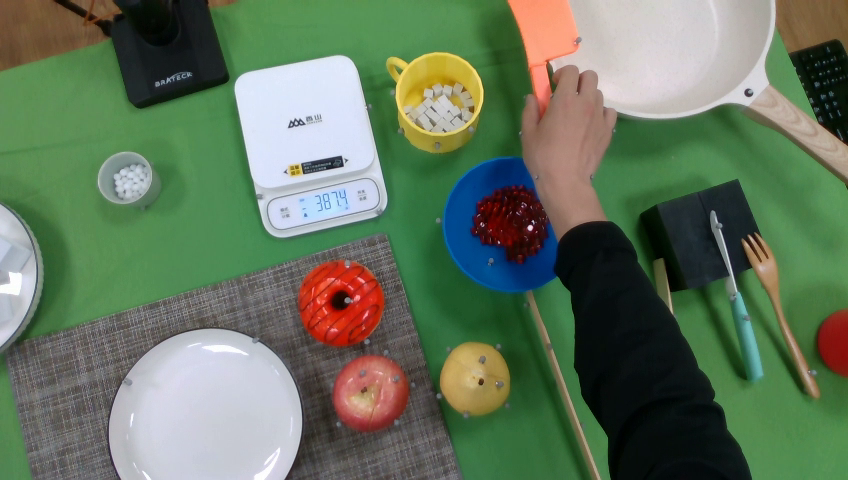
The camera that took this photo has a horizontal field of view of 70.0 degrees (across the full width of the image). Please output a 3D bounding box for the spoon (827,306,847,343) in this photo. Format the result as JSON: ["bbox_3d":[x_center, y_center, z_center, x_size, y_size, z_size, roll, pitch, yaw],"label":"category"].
[{"bbox_3d":[0.511,0.139,0.640,0.041,0.022,0.191,-23,39,-4],"label":"spoon"}]

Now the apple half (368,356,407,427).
[{"bbox_3d":[-0.035,0.166,0.652,0.033,0.081,0.081,16,81,4],"label":"apple half"}]

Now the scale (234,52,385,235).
[{"bbox_3d":[-0.136,-0.116,0.717,0.149,0.031,0.200,-13,83,-3],"label":"scale"}]

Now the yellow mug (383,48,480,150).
[{"bbox_3d":[0.002,-0.173,0.712,0.130,0.064,0.100,40,83,5],"label":"yellow mug"}]

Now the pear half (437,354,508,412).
[{"bbox_3d":[0.049,0.156,0.642,0.076,0.110,0.056,15,81,5],"label":"pear half"}]

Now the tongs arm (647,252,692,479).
[{"bbox_3d":[0.279,0.206,0.687,0.028,0.028,0.386,-2,82,-11],"label":"tongs arm"}]

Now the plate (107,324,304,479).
[{"bbox_3d":[-0.232,0.196,0.661,0.209,0.038,0.208,0,81,-1],"label":"plate"}]

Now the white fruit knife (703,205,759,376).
[{"bbox_3d":[0.344,0.060,0.681,0.016,0.027,0.208,-19,97,-4],"label":"white fruit knife"}]

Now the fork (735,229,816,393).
[{"bbox_3d":[0.402,0.083,0.686,0.028,0.018,0.208,-27,98,-7],"label":"fork"}]

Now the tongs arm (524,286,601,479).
[{"bbox_3d":[0.196,0.223,0.677,0.051,0.026,0.383,-17,84,-9],"label":"tongs arm"}]

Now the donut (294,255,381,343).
[{"bbox_3d":[-0.097,0.066,0.681,0.099,0.048,0.098,0,82,0],"label":"donut"}]

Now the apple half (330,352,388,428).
[{"bbox_3d":[-0.073,0.157,0.654,0.053,0.075,0.080,16,84,4],"label":"apple half"}]

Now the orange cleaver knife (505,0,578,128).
[{"bbox_3d":[0.134,-0.233,0.687,0.077,0.012,0.210,-13,83,-1],"label":"orange cleaver knife"}]

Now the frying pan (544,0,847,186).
[{"bbox_3d":[0.332,-0.208,0.707,0.306,0.103,0.485,-44,77,-6],"label":"frying pan"}]

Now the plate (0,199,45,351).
[{"bbox_3d":[-0.528,0.044,0.679,0.208,0.039,0.207,0,81,-1],"label":"plate"}]

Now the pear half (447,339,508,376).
[{"bbox_3d":[0.060,0.124,0.658,0.070,0.088,0.031,13,81,4],"label":"pear half"}]

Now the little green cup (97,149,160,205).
[{"bbox_3d":[-0.339,-0.070,0.701,0.061,0.039,0.061,0,81,-1],"label":"little green cup"}]

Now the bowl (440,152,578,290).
[{"bbox_3d":[0.090,-0.016,0.685,0.151,0.077,0.151,0,82,-1],"label":"bowl"}]
